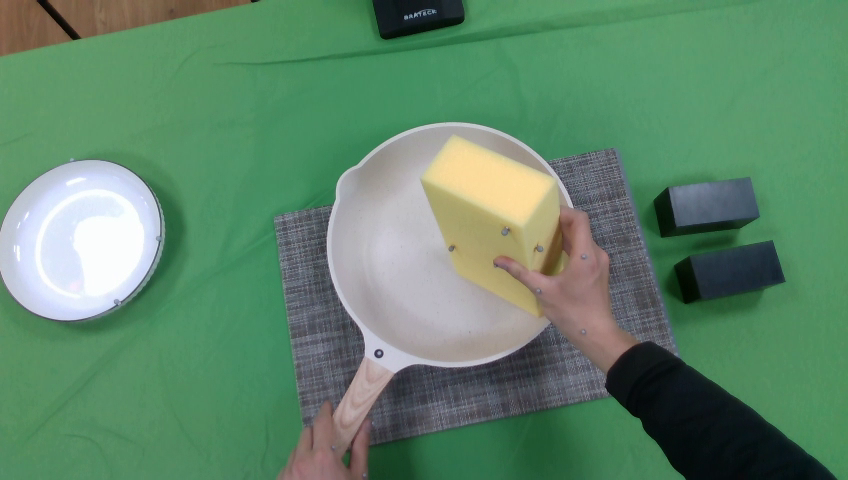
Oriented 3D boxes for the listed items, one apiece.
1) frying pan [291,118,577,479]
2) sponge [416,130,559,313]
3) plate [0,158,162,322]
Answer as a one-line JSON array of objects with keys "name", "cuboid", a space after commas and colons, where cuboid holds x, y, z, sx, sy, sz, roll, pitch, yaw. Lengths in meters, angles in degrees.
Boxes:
[{"name": "frying pan", "cuboid": [-0.022, 0.084, 0.691, 0.306, 0.103, 0.486, 29, 71, 9]}, {"name": "sponge", "cuboid": [0.077, -0.011, 0.645, 0.117, 0.209, 0.061, 28, 70, 26]}, {"name": "plate", "cuboid": [-0.428, 0.001, 0.759, 0.208, 0.039, 0.206, 0, 76, 1]}]
